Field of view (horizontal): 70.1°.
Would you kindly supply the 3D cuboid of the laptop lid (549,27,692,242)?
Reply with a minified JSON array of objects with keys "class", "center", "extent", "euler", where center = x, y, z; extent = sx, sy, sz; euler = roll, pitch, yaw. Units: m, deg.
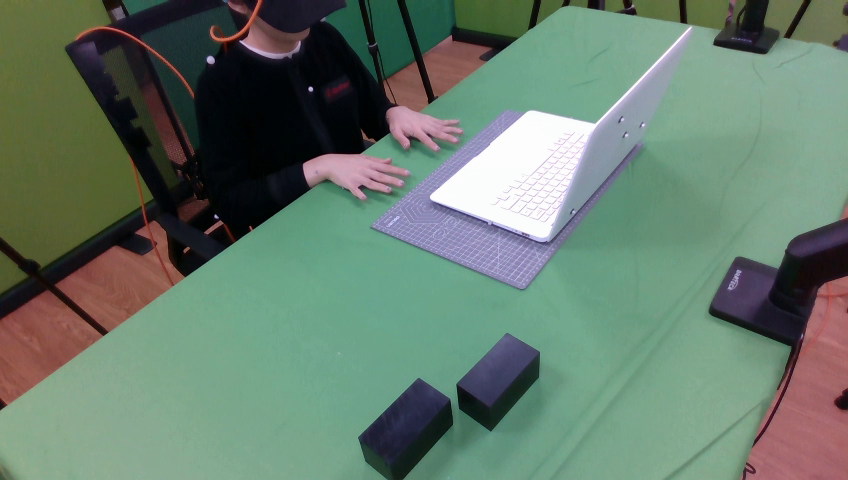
[{"class":"laptop lid","center":[0.311,-0.167,0.948],"extent":[0.013,0.242,0.358],"euler":[33,52,20]}]

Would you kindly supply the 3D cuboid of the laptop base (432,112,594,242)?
[{"class":"laptop base","center":[0.208,-0.129,1.098],"extent":[0.233,0.023,0.355],"euler":[20,47,34]}]
